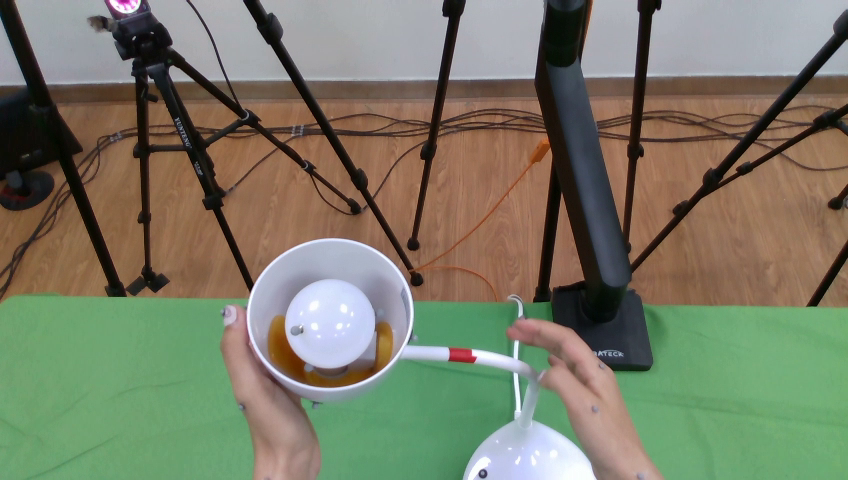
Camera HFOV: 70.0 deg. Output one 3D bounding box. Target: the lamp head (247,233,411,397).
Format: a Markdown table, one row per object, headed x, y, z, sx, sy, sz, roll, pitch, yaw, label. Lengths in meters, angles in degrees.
| x | y | z | sx | sy | sz | roll | pitch | yaw | label |
| --- | --- | --- | --- | --- | --- | --- | --- | --- | --- |
| -0.065 | 0.069 | 0.458 | 0.112 | 0.124 | 0.111 | 1 | 62 | -1 | lamp head |

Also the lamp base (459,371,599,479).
| x | y | z | sx | sy | sz | roll | pitch | yaw | label |
| --- | --- | --- | --- | --- | --- | --- | --- | --- | --- |
| 0.113 | 0.227 | 0.634 | 0.161 | 0.182 | 0.177 | -11 | 51 | -4 | lamp base |

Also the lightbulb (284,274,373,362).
| x | y | z | sx | sy | sz | roll | pitch | yaw | label |
| --- | --- | --- | --- | --- | --- | --- | --- | --- | --- |
| -0.068 | 0.062 | 0.434 | 0.060 | 0.108 | 0.059 | 3 | 68 | -8 | lightbulb |
